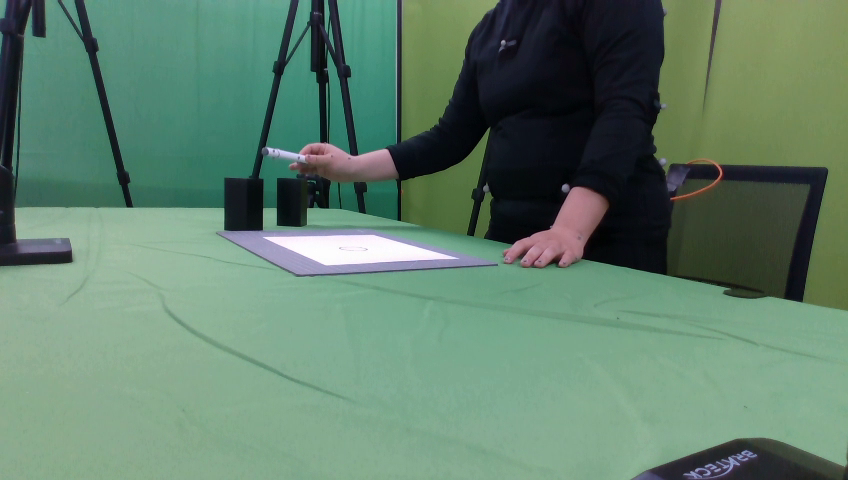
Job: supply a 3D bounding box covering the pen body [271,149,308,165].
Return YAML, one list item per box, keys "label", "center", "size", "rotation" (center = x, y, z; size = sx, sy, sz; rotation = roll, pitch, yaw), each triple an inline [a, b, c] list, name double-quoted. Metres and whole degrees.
- label: "pen body"
  center: [-0.274, -0.168, 1.223]
  size: [0.017, 0.017, 0.144]
  rotation: [5, 0, 18]

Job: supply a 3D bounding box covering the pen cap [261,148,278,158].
- label: "pen cap"
  center: [-0.298, -0.167, 1.163]
  size: [0.017, 0.017, 0.038]
  rotation: [5, 2, 19]
